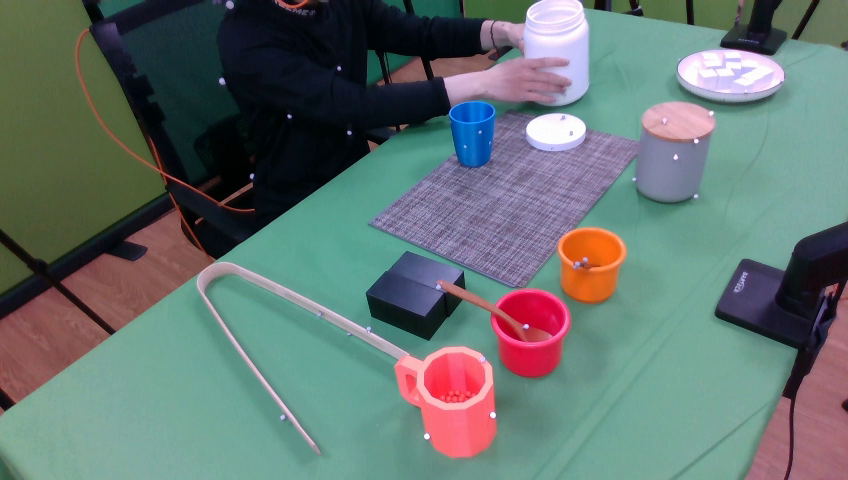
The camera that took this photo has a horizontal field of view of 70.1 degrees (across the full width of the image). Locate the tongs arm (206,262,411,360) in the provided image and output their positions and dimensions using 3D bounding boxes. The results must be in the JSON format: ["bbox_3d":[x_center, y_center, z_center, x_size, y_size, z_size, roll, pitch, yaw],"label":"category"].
[{"bbox_3d":[-0.179,0.106,0.870,0.381,0.027,0.051,23,55,32],"label":"tongs arm"}]

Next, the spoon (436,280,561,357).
[{"bbox_3d":[0.096,0.095,0.757,0.195,0.021,0.041,34,41,-20],"label":"spoon"}]

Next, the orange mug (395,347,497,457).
[{"bbox_3d":[0.024,0.180,0.703,0.125,0.101,0.083,21,48,23],"label":"orange mug"}]

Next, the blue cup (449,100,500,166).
[{"bbox_3d":[0.092,-0.194,1.123,0.092,0.100,0.092,-3,40,3],"label":"blue cup"}]

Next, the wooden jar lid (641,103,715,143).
[{"bbox_3d":[0.398,-0.180,0.952,0.108,0.021,0.108,-4,43,4],"label":"wooden jar lid"}]

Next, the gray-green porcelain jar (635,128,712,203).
[{"bbox_3d":[0.405,-0.133,0.992,0.106,0.127,0.105,-4,40,4],"label":"gray-green porcelain jar"}]

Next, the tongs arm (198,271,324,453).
[{"bbox_3d":[-0.236,0.154,0.831,0.028,0.028,0.384,-37,48,-18],"label":"tongs arm"}]

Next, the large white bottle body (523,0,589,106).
[{"bbox_3d":[0.274,-0.388,1.252,0.130,0.185,0.130,-7,44,8],"label":"large white bottle body"}]

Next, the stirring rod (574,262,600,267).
[{"bbox_3d":[0.222,0.033,0.816,0.014,0.006,0.177,7,0,22],"label":"stirring rod"}]

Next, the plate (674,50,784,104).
[{"bbox_3d":[0.631,-0.336,1.262,0.207,0.039,0.206,-4,41,4],"label":"plate"}]

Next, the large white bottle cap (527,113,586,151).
[{"bbox_3d":[0.259,-0.213,1.184,0.115,0.018,0.114,-5,41,5],"label":"large white bottle cap"}]
